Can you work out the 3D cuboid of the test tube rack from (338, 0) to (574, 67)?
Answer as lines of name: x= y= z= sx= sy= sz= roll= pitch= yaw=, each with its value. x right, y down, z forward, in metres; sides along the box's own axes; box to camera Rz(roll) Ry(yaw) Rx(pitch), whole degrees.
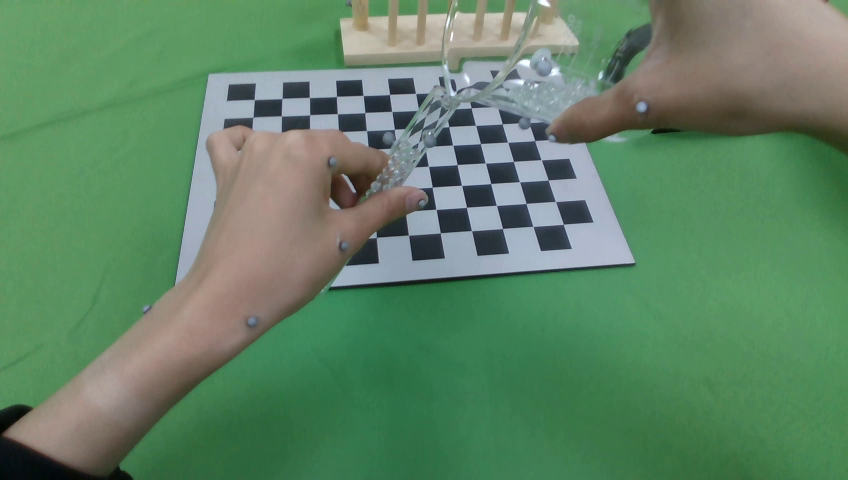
test tube rack: x=0.034 y=-0.237 z=0.610 sx=0.243 sy=0.086 sz=0.066 roll=-5 pitch=52 yaw=-8

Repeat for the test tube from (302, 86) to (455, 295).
test tube: x=-0.030 y=-0.021 z=0.330 sx=0.017 sy=0.150 sz=0.017 roll=27 pitch=33 yaw=-18

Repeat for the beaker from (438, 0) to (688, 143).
beaker: x=0.066 y=-0.089 z=0.290 sx=0.101 sy=0.084 sz=0.073 roll=10 pitch=44 yaw=-28
